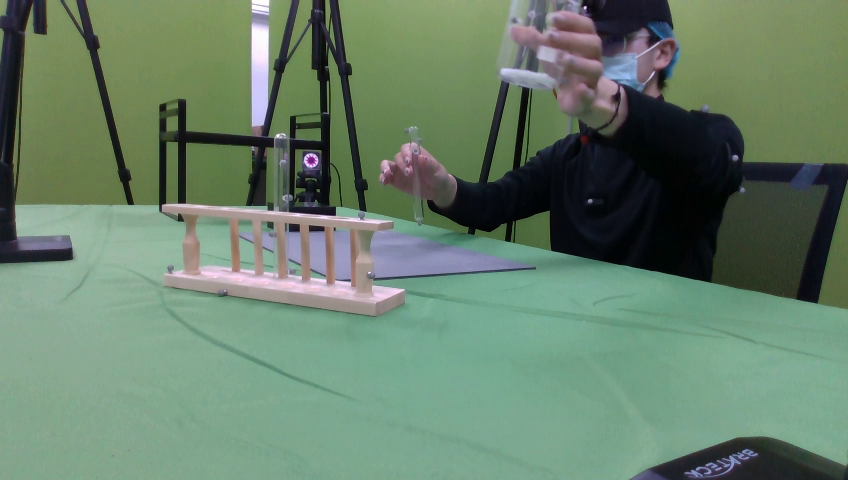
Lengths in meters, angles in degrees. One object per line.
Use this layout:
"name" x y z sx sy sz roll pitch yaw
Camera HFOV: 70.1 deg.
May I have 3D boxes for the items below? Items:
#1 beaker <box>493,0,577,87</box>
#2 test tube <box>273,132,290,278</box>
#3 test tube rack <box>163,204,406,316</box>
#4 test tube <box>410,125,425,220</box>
"beaker" 0.113 -0.217 0.630 0.084 0.100 0.073 7 10 -29
"test tube" -0.146 -0.034 0.617 0.017 0.150 0.017 2 8 0
"test tube rack" -0.141 0.013 0.601 0.241 0.085 0.067 5 8 21
"test tube" -0.011 -0.106 0.953 0.017 0.150 0.017 -3 3 1
